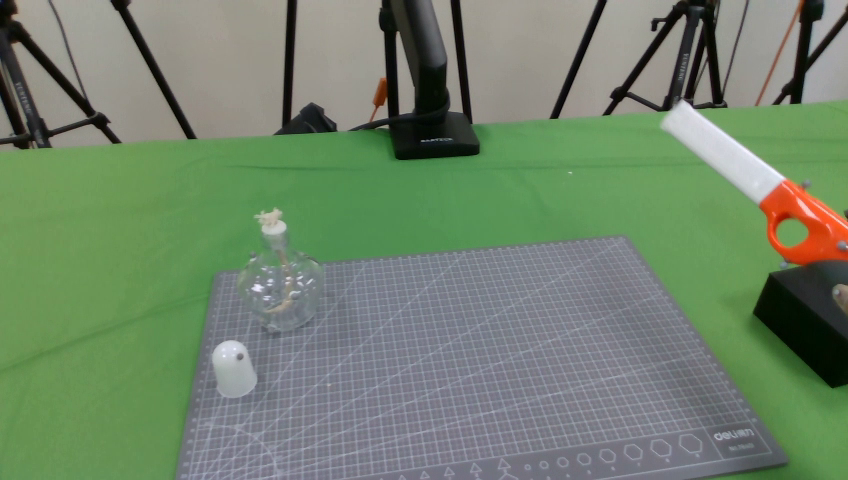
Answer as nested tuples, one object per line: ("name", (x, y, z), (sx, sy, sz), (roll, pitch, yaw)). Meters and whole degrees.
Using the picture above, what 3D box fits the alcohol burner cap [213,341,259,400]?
("alcohol burner cap", (-0.155, 0.104, 0.496), (0.034, 0.048, 0.033), (1, 36, -1))

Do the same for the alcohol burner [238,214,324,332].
("alcohol burner", (-0.130, 0.025, 0.544), (0.078, 0.120, 0.077), (2, 37, -1))

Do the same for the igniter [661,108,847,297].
("igniter", (0.284, -0.024, 0.477), (0.025, 0.057, 0.273), (24, 26, -40))
